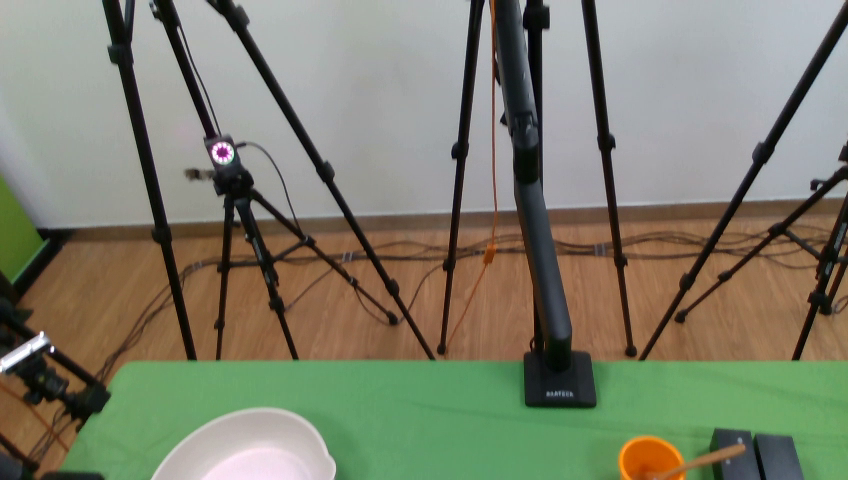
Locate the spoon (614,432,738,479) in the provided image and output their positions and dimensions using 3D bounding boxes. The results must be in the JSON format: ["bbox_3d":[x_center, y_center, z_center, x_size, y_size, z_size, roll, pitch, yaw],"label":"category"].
[{"bbox_3d":[0.352,0.308,0.856,0.022,0.194,0.041,31,41,-21],"label":"spoon"}]

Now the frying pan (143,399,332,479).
[{"bbox_3d":[-0.272,0.439,0.850,0.307,0.103,0.483,-12,32,-2],"label":"frying pan"}]
